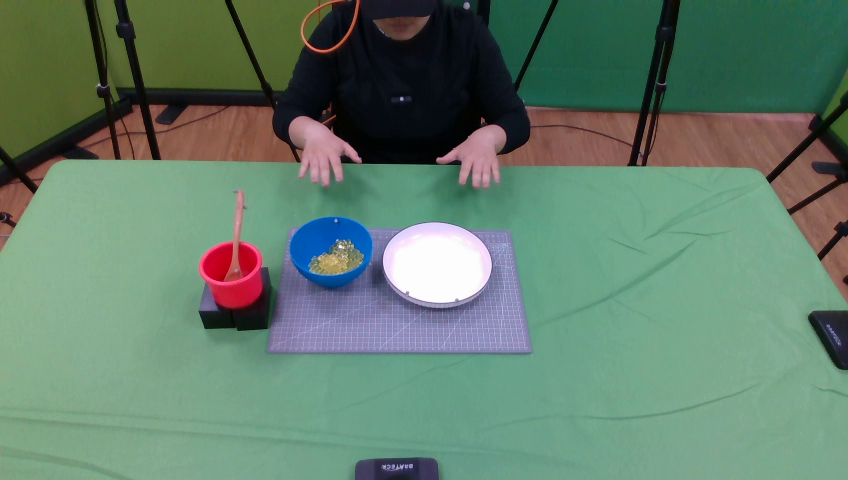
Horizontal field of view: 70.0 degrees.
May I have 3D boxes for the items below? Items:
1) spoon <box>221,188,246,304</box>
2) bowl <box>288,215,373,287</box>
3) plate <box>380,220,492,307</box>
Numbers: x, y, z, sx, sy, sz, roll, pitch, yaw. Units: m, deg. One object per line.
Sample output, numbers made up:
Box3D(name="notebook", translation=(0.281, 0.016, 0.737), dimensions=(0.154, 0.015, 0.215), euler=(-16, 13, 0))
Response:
Box3D(name="spoon", translation=(-0.312, 0.010, 1.011), dimensions=(0.041, 0.021, 0.193), euler=(4, 90, 3))
Box3D(name="bowl", translation=(-0.168, 0.034, 1.109), dimensions=(0.151, 0.077, 0.150), euler=(2, 46, -2))
Box3D(name="plate", translation=(0.021, 0.048, 1.137), dimensions=(0.208, 0.039, 0.206), euler=(2, 46, -2))
